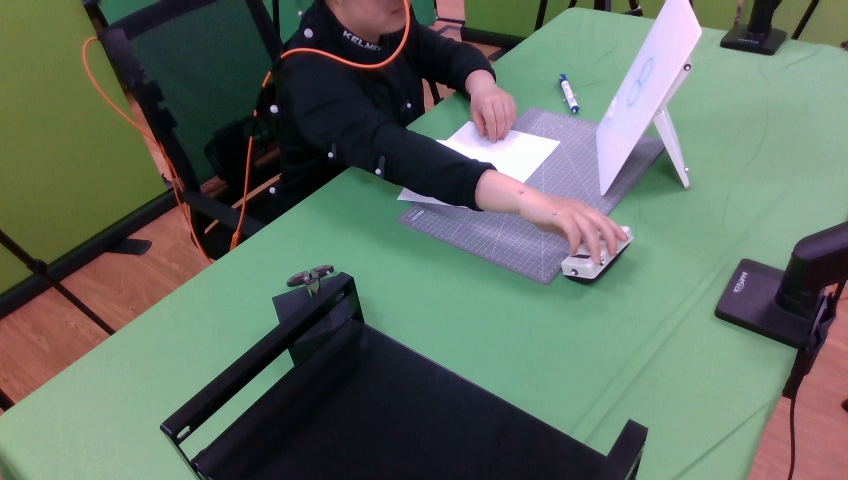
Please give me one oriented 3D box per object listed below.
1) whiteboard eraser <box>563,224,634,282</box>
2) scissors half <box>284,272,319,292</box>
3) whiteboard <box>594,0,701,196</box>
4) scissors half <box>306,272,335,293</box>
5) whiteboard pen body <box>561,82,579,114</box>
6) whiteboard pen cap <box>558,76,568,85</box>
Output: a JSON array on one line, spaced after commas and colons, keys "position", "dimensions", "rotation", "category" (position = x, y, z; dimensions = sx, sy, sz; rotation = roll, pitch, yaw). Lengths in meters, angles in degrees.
[{"position": [0.259, 0.020, 0.894], "dimensions": [0.113, 0.042, 0.055], "rotation": [-39, 25, -30], "category": "whiteboard eraser"}, {"position": [-0.172, 0.063, 0.868], "dimensions": [0.040, 0.013, 0.174], "rotation": [-7, 6, -22], "category": "scissors half"}, {"position": [0.421, -0.227, 1.010], "dimensions": [0.144, 0.305, 0.216], "rotation": [18, 42, -2], "category": "whiteboard"}, {"position": [-0.152, 0.062, 0.872], "dimensions": [0.040, 0.013, 0.175], "rotation": [0, 4, -4], "category": "scissors half"}, {"position": [0.310, -0.311, 1.298], "dimensions": [0.017, 0.017, 0.140], "rotation": [-6, 41, 2], "category": "whiteboard pen body"}, {"position": [0.310, -0.350, 1.341], "dimensions": [0.018, 0.018, 0.033], "rotation": [-6, 41, 2], "category": "whiteboard pen cap"}]
